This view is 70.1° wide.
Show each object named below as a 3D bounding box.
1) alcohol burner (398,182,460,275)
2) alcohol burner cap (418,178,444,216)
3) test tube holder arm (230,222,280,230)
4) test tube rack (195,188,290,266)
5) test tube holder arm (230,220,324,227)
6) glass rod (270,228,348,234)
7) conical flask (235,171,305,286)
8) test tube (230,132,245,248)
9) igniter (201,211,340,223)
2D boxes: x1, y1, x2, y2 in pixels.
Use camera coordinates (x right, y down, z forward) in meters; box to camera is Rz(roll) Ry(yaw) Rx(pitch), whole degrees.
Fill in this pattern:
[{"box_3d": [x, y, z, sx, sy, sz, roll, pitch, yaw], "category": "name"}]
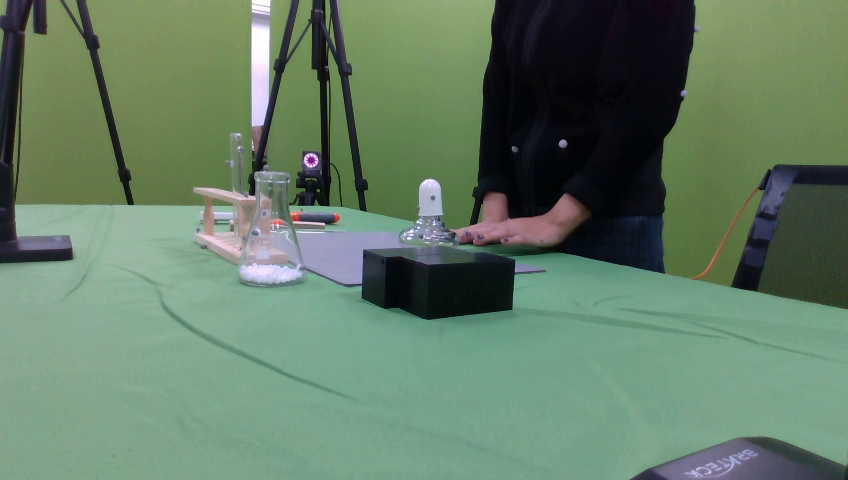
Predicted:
[{"box_3d": [0.007, -0.017, 0.751, 0.078, 0.119, 0.078, 3, 9, 0], "category": "alcohol burner"}, {"box_3d": [0.007, -0.053, 0.745, 0.034, 0.048, 0.034, -3, 6, 1], "category": "alcohol burner cap"}, {"box_3d": [-0.312, -0.025, 1.118, 0.088, 0.015, 0.010, -1, 45, -30], "category": "test tube holder arm"}, {"box_3d": [-0.266, -0.025, 0.864, 0.067, 0.085, 0.241, -2, 9, -33], "category": "test tube rack"}, {"box_3d": [-0.275, -0.030, 1.145, 0.179, 0.015, 0.013, -2, 45, -31], "category": "test tube holder arm"}, {"box_3d": [-0.234, -0.017, 1.105, 0.201, 0.008, 0.008, 1, 7, -26], "category": "glass rod"}, {"box_3d": [-0.168, -0.014, 0.663, 0.075, 0.122, 0.075, 2, 7, 0], "category": "conical flask"}, {"box_3d": [-0.242, -0.064, 0.789, 0.017, 0.150, 0.017, 0, 7, 0], "category": "test tube"}, {"box_3d": [-0.311, -0.047, 1.243, 0.278, 0.025, 0.057, -1, -2, -24], "category": "igniter"}]
